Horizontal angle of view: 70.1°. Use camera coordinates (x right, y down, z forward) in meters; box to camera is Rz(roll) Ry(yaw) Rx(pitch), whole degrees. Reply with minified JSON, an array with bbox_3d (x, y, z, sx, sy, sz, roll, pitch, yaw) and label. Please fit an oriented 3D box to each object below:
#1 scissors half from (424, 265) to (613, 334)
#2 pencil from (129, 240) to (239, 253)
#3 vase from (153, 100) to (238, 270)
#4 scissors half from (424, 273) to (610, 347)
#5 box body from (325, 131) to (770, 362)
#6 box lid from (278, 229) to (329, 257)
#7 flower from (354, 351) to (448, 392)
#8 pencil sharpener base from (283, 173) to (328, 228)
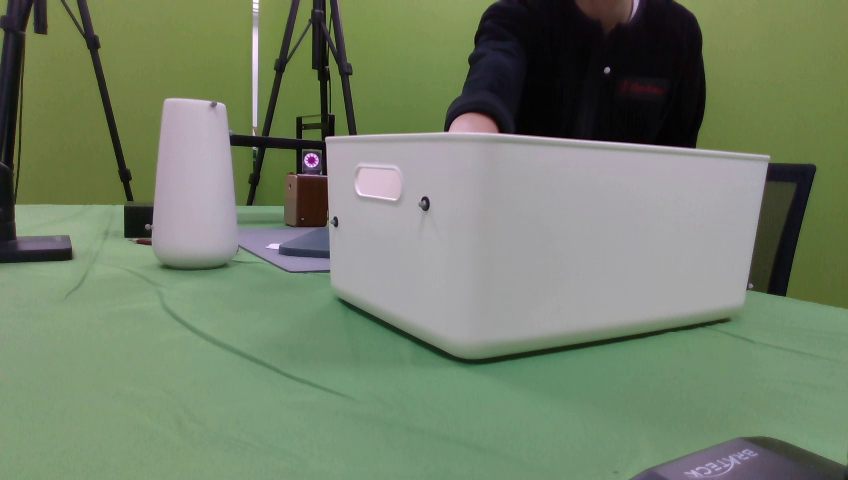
[{"bbox_3d":[0.076,0.053,0.524,0.174,0.040,0.013,17,49,24],"label":"scissors half"},{"bbox_3d":[-0.350,0.008,0.874,0.193,0.012,0.012,4,7,18],"label":"pencil"},{"bbox_3d":[-0.278,-0.066,0.736,0.098,0.200,0.098,2,9,0],"label":"vase"},{"bbox_3d":[0.078,0.065,0.536,0.174,0.040,0.013,16,55,27],"label":"scissors half"},{"bbox_3d":[0.112,-0.010,0.583,0.366,0.160,0.253,-2,9,-32],"label":"box body"},{"bbox_3d":[-0.019,0.012,0.950,0.371,0.015,0.263,4,7,4],"label":"box lid"},{"bbox_3d":[0.104,0.075,0.586,0.363,0.044,0.038,-20,38,-14],"label":"flower"},{"bbox_3d":[-0.239,-0.081,1.231,0.077,0.107,0.061,-2,8,-36],"label":"pencil sharpener base"}]
